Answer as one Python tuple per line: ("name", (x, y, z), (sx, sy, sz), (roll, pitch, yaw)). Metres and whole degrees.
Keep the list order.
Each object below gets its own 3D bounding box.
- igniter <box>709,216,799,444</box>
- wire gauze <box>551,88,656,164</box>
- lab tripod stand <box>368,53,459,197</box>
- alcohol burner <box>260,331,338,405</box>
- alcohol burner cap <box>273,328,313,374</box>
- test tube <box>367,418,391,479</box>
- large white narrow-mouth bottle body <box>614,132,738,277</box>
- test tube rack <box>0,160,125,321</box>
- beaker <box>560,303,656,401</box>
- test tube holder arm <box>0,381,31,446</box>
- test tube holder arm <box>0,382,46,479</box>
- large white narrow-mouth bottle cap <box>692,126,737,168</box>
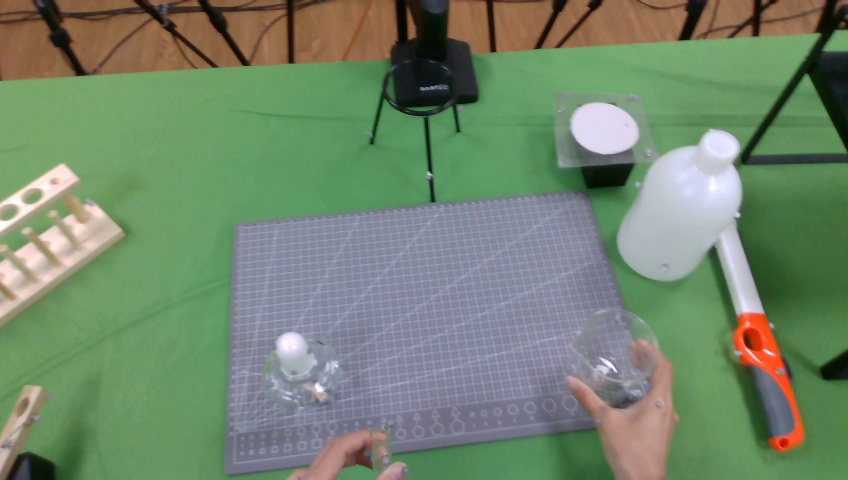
("igniter", (0.365, 0.089, 0.684), (0.057, 0.025, 0.274), (5, 58, -10))
("wire gauze", (0.226, -0.148, 0.775), (0.121, 0.011, 0.124), (1, 59, -1))
("lab tripod stand", (-0.004, -0.149, 0.755), (0.148, 0.132, 0.147), (2, 60, -2))
("alcohol burner", (-0.126, 0.120, 0.600), (0.078, 0.120, 0.077), (2, 58, -2))
("alcohol burner cap", (-0.125, 0.102, 0.569), (0.034, 0.048, 0.033), (-1, 54, 1))
("test tube", (-0.035, 0.187, 0.488), (0.017, 0.151, 0.017), (1, 45, -1))
("large white narrow-mouth bottle body", (0.281, -0.044, 0.663), (0.102, 0.196, 0.101), (0, 59, 0))
("test tube rack", (-0.470, 0.025, 0.668), (0.066, 0.086, 0.242), (39, 66, 19))
("beaker", (0.179, 0.118, 0.616), (0.084, 0.101, 0.073), (-1, 60, 0))
("test tube holder arm", (-0.387, 0.176, 0.565), (0.010, 0.015, 0.087), (4, 59, 8))
("test tube holder arm", (-0.388, 0.214, 0.542), (0.013, 0.015, 0.177), (4, 59, 9))
("large white narrow-mouth bottle cap", (0.282, -0.091, 0.590), (0.038, 0.024, 0.037), (1, 59, -1))
